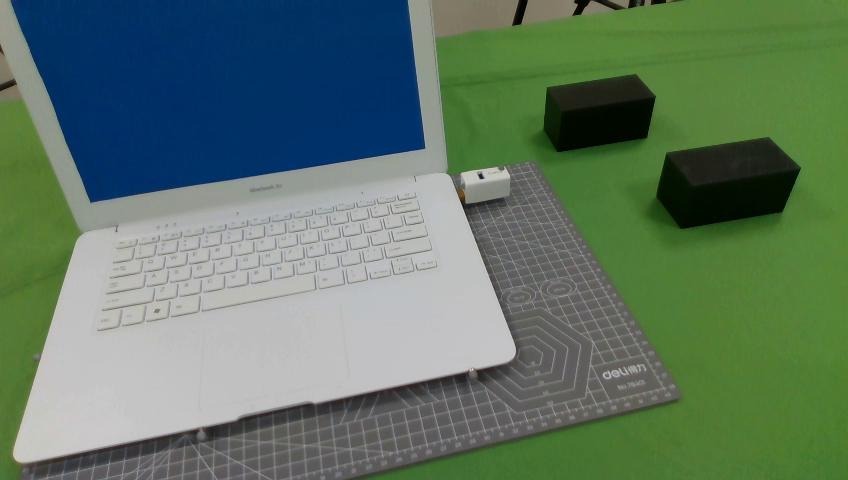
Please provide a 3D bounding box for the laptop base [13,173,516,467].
[{"bbox_3d":[-0.125,0.047,0.505,0.355,0.023,0.233,-10,46,-7],"label":"laptop base"}]

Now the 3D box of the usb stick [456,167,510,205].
[{"bbox_3d":[0.051,-0.050,0.577,0.059,0.027,0.021,-12,44,-5],"label":"usb stick"}]

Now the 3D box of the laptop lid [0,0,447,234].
[{"bbox_3d":[-0.161,-0.134,0.534,0.357,0.243,0.013,-12,29,-6],"label":"laptop lid"}]
